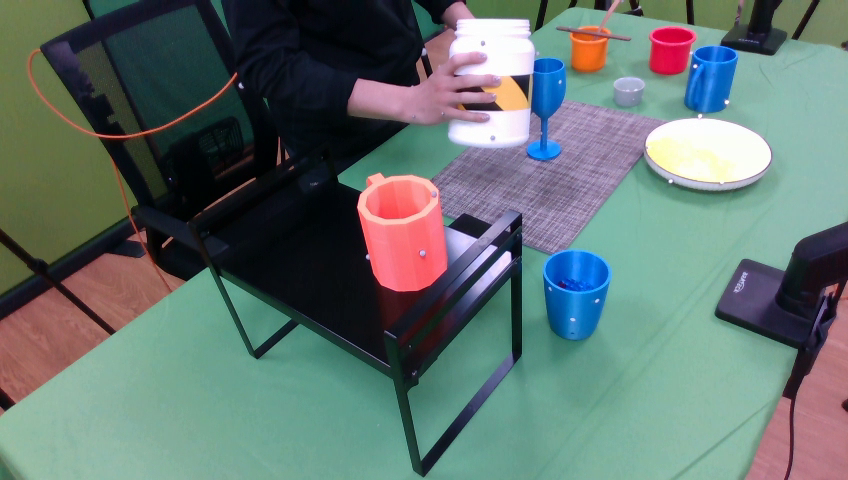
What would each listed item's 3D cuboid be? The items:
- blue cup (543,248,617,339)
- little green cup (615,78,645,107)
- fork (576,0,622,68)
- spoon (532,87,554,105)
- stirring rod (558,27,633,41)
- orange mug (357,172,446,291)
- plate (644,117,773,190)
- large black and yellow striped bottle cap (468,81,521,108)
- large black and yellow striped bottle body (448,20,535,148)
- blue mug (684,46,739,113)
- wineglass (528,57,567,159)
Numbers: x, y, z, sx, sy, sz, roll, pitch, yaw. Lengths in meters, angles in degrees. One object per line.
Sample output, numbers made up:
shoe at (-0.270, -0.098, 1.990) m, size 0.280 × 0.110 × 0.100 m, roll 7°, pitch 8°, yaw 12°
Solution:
blue cup at (0.199, 0.076, 0.797) m, size 0.092 × 0.100 × 0.092 m, roll -4°, pitch 39°, yaw 4°
little green cup at (0.426, -0.306, 1.257) m, size 0.061 × 0.039 × 0.061 m, roll -5°, pitch 40°, yaw 4°
fork at (0.409, -0.484, 1.381) m, size 0.028 × 0.019 × 0.207 m, roll 37°, pitch 101°, yaw 45°
spoon at (0.227, -0.285, 1.269) m, size 0.041 × 0.022 × 0.194 m, roll 2°, pitch 36°, yaw 45°
stirring rod at (0.381, -0.463, 1.356) m, size 0.175 × 0.006 × 0.014 m, roll 21°, pitch 47°, yaw 30°
orange mug at (-0.030, -0.019, 0.668) m, size 0.084 × 0.101 × 0.125 m, roll -23°, pitch 47°, yaw -16°
plate at (0.495, -0.148, 1.063) m, size 0.209 × 0.038 × 0.208 m, roll -5°, pitch 40°, yaw 4°
large black and yellow striped bottle cap at (0.151, -0.315, 1.304) m, size 0.115 × 0.019 × 0.114 m, roll -5°, pitch 32°, yaw 4°
large black and yellow striped bottle body at (0.104, -0.245, 0.943) m, size 0.131 × 0.184 × 0.130 m, roll 0°, pitch 19°, yaw 0°
blue mug at (0.556, -0.310, 1.190) m, size 0.117 × 0.106 × 0.081 m, roll -32°, pitch 46°, yaw -25°
wineglass at (0.221, -0.237, 1.098) m, size 0.074 × 0.173 × 0.073 m, roll -4°, pitch 41°, yaw 4°
